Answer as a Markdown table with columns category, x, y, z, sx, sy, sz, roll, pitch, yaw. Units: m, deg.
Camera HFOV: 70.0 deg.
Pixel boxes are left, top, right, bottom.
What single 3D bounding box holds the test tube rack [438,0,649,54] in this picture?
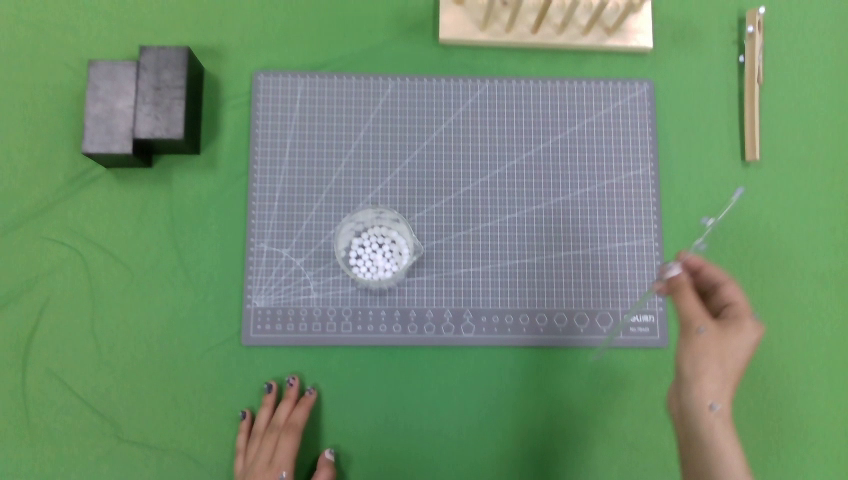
| category | x | y | z | sx | sy | sz | roll | pitch | yaw |
| --- | --- | --- | --- | --- | --- | --- | --- | --- | --- |
| test tube rack | 0.139 | -0.259 | 0.662 | 0.242 | 0.085 | 0.066 | 2 | 81 | -2 |

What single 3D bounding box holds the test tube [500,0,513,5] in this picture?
| category | x | y | z | sx | sy | sz | roll | pitch | yaw |
| --- | --- | --- | --- | --- | --- | --- | --- | --- | --- |
| test tube | 0.103 | -0.285 | 0.614 | 0.017 | 0.150 | 0.017 | 2 | 79 | -9 |

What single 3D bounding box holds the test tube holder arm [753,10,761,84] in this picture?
| category | x | y | z | sx | sy | sz | roll | pitch | yaw |
| --- | --- | --- | --- | --- | --- | --- | --- | --- | --- |
| test tube holder arm | 0.381 | -0.222 | 0.701 | 0.010 | 0.015 | 0.087 | 12 | 79 | -30 |

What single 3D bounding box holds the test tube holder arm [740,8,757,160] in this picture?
| category | x | y | z | sx | sy | sz | roll | pitch | yaw |
| --- | --- | --- | --- | --- | --- | --- | --- | --- | --- |
| test tube holder arm | 0.371 | -0.179 | 0.691 | 0.013 | 0.015 | 0.178 | 12 | 80 | -30 |

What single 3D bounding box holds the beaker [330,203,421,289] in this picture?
| category | x | y | z | sx | sy | sz | roll | pitch | yaw |
| --- | --- | --- | --- | --- | --- | --- | --- | --- | --- |
| beaker | -0.046 | 0.011 | 0.602 | 0.084 | 0.100 | 0.073 | 5 | 81 | -2 |

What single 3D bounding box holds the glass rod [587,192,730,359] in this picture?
| category | x | y | z | sx | sy | sz | roll | pitch | yaw |
| --- | --- | --- | --- | --- | --- | --- | --- | --- | --- |
| glass rod | 0.201 | 0.038 | 0.535 | 0.008 | 0.008 | 0.200 | 31 | 120 | 3 |
